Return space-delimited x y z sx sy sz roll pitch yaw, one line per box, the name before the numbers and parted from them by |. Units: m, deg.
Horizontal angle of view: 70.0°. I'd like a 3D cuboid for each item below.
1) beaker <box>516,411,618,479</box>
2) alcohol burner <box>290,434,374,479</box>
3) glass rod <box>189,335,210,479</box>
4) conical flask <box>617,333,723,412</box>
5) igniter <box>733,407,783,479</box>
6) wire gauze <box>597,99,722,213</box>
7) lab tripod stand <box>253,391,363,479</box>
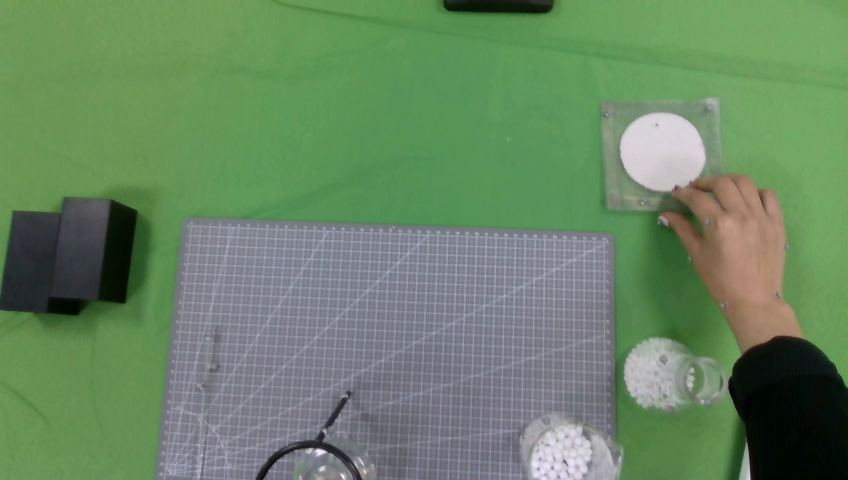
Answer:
beaker | 0.123 0.191 0.541 0.084 0.100 0.073 -21 80 -1
alcohol burner | -0.086 0.215 0.540 0.078 0.119 0.077 -1 79 5
glass rod | -0.226 0.195 0.603 0.008 0.008 0.199 3 84 3
conical flask | 0.223 0.120 0.539 0.075 0.122 0.075 -1 80 4
igniter | 0.285 0.293 0.556 0.057 0.025 0.276 17 82 -5
wire gauze | 0.245 -0.088 0.629 0.125 0.011 0.121 1 81 1
lab tripod stand | -0.090 0.213 0.530 0.148 0.132 0.148 0 82 3
